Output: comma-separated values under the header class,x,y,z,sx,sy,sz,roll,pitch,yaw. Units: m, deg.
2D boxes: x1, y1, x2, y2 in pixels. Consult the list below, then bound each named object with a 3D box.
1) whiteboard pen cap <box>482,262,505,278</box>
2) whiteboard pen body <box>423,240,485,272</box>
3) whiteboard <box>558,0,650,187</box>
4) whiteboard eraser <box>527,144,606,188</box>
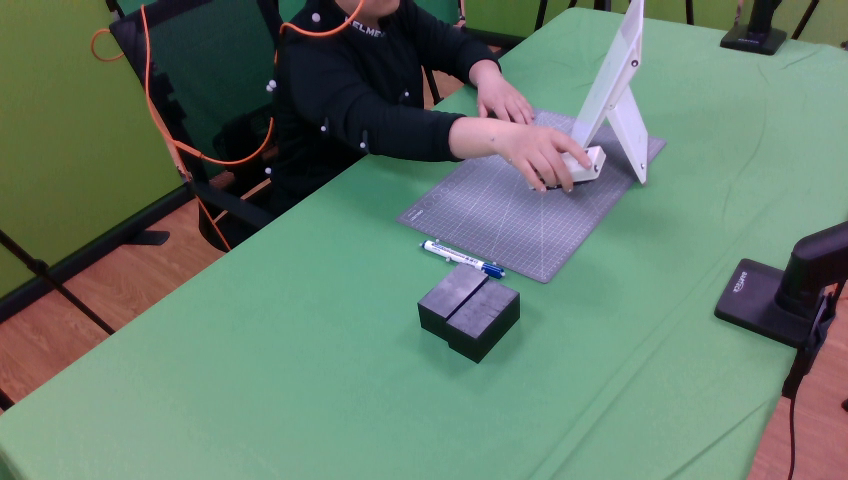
class,x,y,z,sx,sy,sz,roll,pitch,yaw
whiteboard pen cap,0.104,0.044,0.912,0.033,0.018,0.018,21,48,29
whiteboard pen body,0.057,0.027,0.942,0.139,0.017,0.017,21,48,30
whiteboard,0.362,-0.238,1.026,0.144,0.306,0.217,21,44,3
whiteboard eraser,0.215,-0.108,0.912,0.112,0.042,0.055,-8,38,41
